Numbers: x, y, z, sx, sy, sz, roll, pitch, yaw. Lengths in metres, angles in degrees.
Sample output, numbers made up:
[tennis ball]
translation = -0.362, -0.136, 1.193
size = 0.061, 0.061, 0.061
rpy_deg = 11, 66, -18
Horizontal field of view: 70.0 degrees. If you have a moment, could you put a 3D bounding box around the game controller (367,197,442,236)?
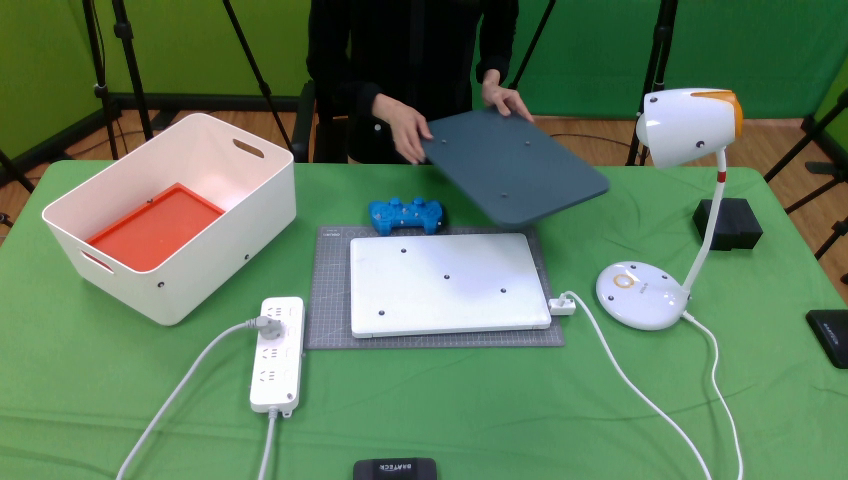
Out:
[game controller]
translation = -0.037, -0.056, 1.231
size = 0.155, 0.052, 0.096
rpy_deg = -2, 48, -6

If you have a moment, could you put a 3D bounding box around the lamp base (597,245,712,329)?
[lamp base]
translation = 0.418, 0.051, 1.071
size = 0.179, 0.181, 0.160
rpy_deg = 22, 49, 13

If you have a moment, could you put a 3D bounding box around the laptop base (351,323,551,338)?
[laptop base]
translation = 0.040, 0.080, 1.125
size = 0.355, 0.023, 0.234
rpy_deg = -2, 43, -6

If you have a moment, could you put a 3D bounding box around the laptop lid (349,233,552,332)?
[laptop lid]
translation = 0.040, 0.071, 1.118
size = 0.357, 0.013, 0.240
rpy_deg = -1, 44, -5

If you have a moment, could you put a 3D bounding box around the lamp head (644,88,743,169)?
[lamp head]
translation = 0.380, -0.161, 0.851
size = 0.122, 0.113, 0.112
rpy_deg = -4, 42, 25

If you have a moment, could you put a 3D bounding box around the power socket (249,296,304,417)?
[power socket]
translation = -0.239, 0.182, 0.996
size = 0.072, 0.033, 0.225
rpy_deg = -2, 47, -5

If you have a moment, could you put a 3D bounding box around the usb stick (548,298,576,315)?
[usb stick]
translation = 0.240, 0.120, 1.085
size = 0.059, 0.027, 0.021
rpy_deg = -2, 51, -2

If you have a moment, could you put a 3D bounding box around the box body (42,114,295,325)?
[box body]
translation = -0.437, -0.046, 1.110
size = 0.253, 0.161, 0.363
rpy_deg = 24, 49, 19

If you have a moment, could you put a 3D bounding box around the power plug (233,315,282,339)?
[power plug]
translation = -0.271, 0.144, 0.999
size = 0.072, 0.053, 0.035
rpy_deg = 6, 47, 3

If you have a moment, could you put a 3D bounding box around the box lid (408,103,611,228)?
[box lid]
translation = 0.162, -0.162, 1.206
size = 0.263, 0.015, 0.369
rpy_deg = -21, 47, -24
